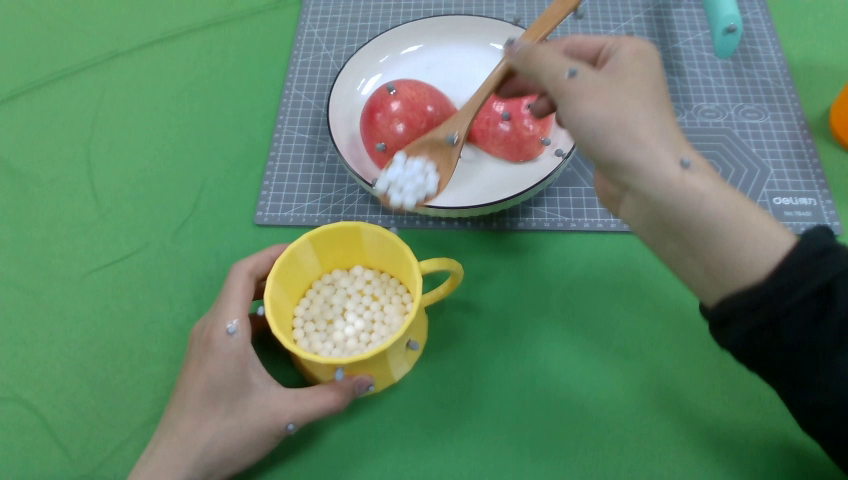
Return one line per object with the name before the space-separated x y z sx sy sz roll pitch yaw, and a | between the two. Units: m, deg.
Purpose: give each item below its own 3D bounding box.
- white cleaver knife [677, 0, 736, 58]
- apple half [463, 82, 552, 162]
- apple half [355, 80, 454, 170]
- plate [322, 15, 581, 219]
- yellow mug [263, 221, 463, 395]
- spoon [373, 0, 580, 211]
white cleaver knife | 0.247 -0.266 0.569 0.021 0.066 0.284 -1 56 8
apple half | 0.066 -0.104 0.491 0.081 0.033 0.080 -1 62 2
apple half | -0.015 -0.096 0.479 0.081 0.054 0.074 -38 62 -18
plate | 0.022 -0.101 0.500 0.209 0.038 0.207 -1 60 2
yellow mug | -0.035 0.041 0.407 0.131 0.064 0.099 -18 61 -10
spoon | 0.040 -0.093 0.365 0.041 0.022 0.194 43 95 23
